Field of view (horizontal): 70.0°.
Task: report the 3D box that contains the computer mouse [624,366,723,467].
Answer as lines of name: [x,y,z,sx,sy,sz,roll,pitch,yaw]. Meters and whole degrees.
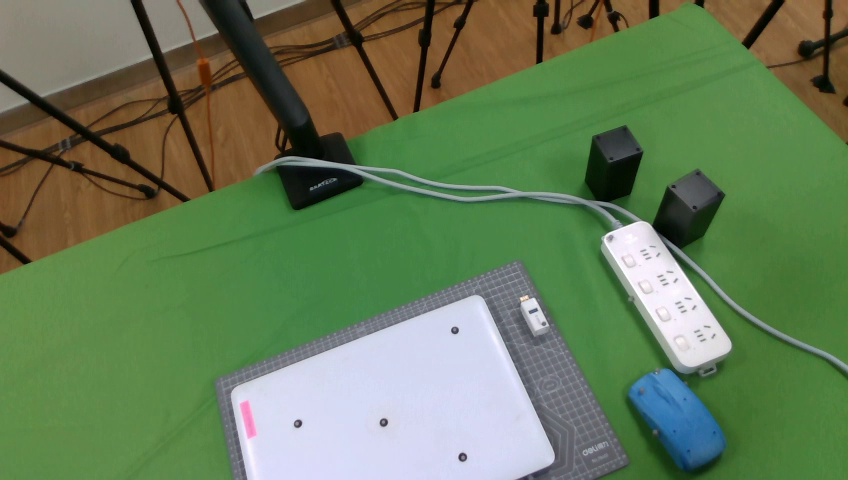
computer mouse: [0.292,0.204,0.714,0.063,0.041,0.116,-27,55,-6]

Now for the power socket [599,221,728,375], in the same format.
power socket: [0.308,0.069,0.794,0.072,0.033,0.224,-21,59,-4]

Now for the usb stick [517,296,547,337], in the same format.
usb stick: [0.140,0.096,0.800,0.021,0.027,0.058,-23,57,-3]

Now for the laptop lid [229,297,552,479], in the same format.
laptop lid: [-0.050,0.227,0.742,0.357,0.013,0.239,-20,61,-4]

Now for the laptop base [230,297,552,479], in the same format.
laptop base: [-0.049,0.231,0.753,0.354,0.023,0.233,-21,62,-5]
